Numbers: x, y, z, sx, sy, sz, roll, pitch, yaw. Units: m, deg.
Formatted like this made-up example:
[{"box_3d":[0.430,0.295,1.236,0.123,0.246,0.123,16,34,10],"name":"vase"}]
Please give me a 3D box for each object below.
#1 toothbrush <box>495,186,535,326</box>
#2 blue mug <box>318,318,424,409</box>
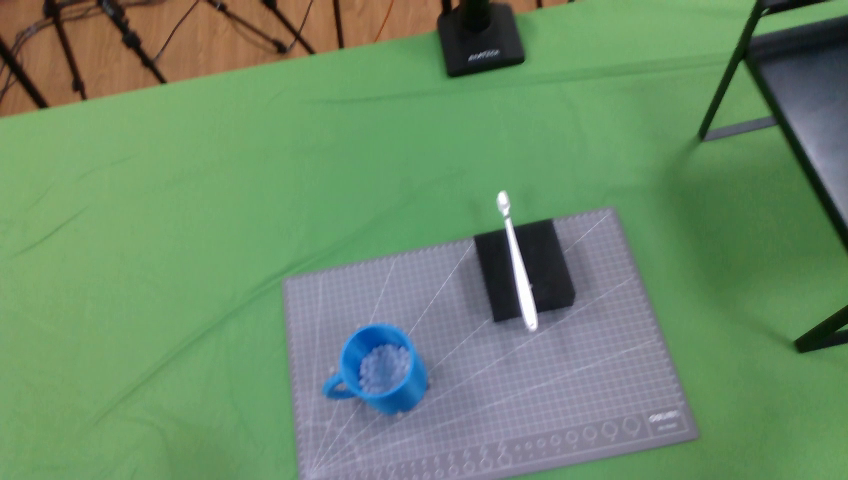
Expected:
[{"box_3d":[0.107,0.015,0.716,0.014,0.017,0.180,-7,66,-5],"name":"toothbrush"},{"box_3d":[-0.062,0.148,0.685,0.116,0.107,0.081,-21,65,-1],"name":"blue mug"}]
